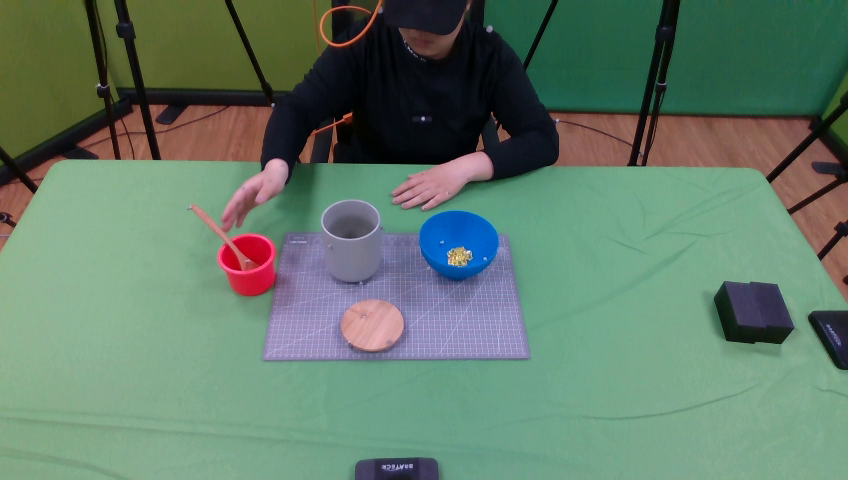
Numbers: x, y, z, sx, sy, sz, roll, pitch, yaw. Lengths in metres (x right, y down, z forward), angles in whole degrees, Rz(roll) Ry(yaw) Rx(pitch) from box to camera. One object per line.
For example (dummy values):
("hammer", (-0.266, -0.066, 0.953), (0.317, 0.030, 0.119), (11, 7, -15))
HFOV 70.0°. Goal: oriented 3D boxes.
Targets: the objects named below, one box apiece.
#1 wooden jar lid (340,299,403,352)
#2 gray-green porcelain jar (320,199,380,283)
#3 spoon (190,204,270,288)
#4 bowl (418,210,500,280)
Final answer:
("wooden jar lid", (-0.090, 0.150, 1.046), (0.108, 0.021, 0.107), (3, 47, -3))
("gray-green porcelain jar", (-0.133, 0.007, 1.106), (0.106, 0.127, 0.105), (2, 46, -2))
("spoon", (-0.345, 0.009, 1.079), (0.194, 0.021, 0.041), (54, 52, -15))
("bowl", (0.062, 0.022, 1.140), (0.151, 0.077, 0.150), (2, 46, -2))
